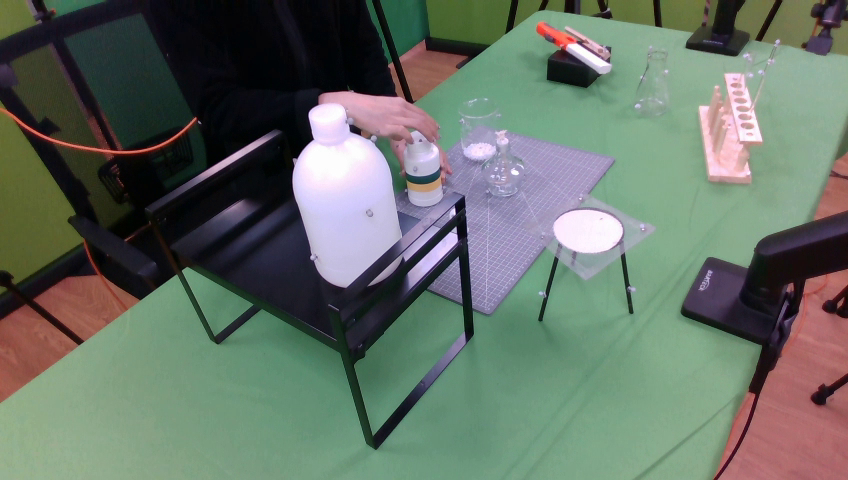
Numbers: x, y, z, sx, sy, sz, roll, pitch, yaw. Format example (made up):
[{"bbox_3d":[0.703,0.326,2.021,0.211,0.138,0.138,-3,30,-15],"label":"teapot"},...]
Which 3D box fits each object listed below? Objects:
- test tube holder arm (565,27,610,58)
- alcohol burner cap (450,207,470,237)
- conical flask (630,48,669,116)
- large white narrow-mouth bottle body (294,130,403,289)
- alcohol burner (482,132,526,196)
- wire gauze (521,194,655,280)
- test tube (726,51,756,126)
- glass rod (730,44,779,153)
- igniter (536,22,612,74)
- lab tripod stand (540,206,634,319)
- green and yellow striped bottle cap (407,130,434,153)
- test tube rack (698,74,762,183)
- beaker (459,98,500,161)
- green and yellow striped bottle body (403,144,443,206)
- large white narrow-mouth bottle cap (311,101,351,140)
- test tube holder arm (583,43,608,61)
[{"bbox_3d":[0.369,-0.450,1.373,0.013,0.015,0.177,-39,41,10],"label":"test tube holder arm"},{"bbox_3d":[0.057,-0.032,0.987,0.034,0.048,0.033,-5,41,5],"label":"alcohol burner cap"},{"bbox_3d":[0.456,-0.317,1.205,0.075,0.122,0.075,-4,41,4],"label":"conical flask"},{"bbox_3d":[-0.082,-0.047,0.634,0.102,0.195,0.101,-4,40,4],"label":"large white narrow-mouth bottle body"},{"bbox_3d":[0.137,-0.136,1.042,0.078,0.119,0.077,-4,43,4],"label":"alcohol burner"},{"bbox_3d":[0.207,-0.012,0.772,0.122,0.011,0.124,-28,44,-20],"label":"wire gauze"},{"bbox_3d":[0.568,-0.268,1.086,0.017,0.151,0.017,-4,46,4],"label":"test tube"},{"bbox_3d":[0.555,-0.234,1.020,0.008,0.200,0.008,2,40,-1],"label":"glass rod"},{"bbox_3d":[0.330,-0.439,1.366,0.057,0.025,0.274,-11,41,-20],"label":"igniter"},{"bbox_3d":[0.218,0.034,0.821,0.148,0.132,0.147,-4,42,4],"label":"lab tripod stand"},{"bbox_3d":[-0.007,-0.165,1.006,0.045,0.020,0.045,-10,39,8],"label":"green and yellow striped bottle cap"},{"bbox_3d":[0.547,-0.208,1.095,0.066,0.085,0.242,5,42,15],"label":"test tube rack"},{"bbox_3d":[0.104,-0.208,1.142,0.074,0.101,0.083,-20,41,-15],"label":"beaker"},{"bbox_3d":[-0.002,-0.123,1.042,0.063,0.120,0.063,-4,41,4],"label":"green and yellow striped bottle body"},{"bbox_3d":[-0.089,-0.114,0.578,0.038,0.024,0.037,-4,39,3],"label":"large white narrow-mouth bottle cap"},{"bbox_3d":[0.379,-0.420,1.341,0.010,0.015,0.087,-39,41,10],"label":"test tube holder arm"}]
